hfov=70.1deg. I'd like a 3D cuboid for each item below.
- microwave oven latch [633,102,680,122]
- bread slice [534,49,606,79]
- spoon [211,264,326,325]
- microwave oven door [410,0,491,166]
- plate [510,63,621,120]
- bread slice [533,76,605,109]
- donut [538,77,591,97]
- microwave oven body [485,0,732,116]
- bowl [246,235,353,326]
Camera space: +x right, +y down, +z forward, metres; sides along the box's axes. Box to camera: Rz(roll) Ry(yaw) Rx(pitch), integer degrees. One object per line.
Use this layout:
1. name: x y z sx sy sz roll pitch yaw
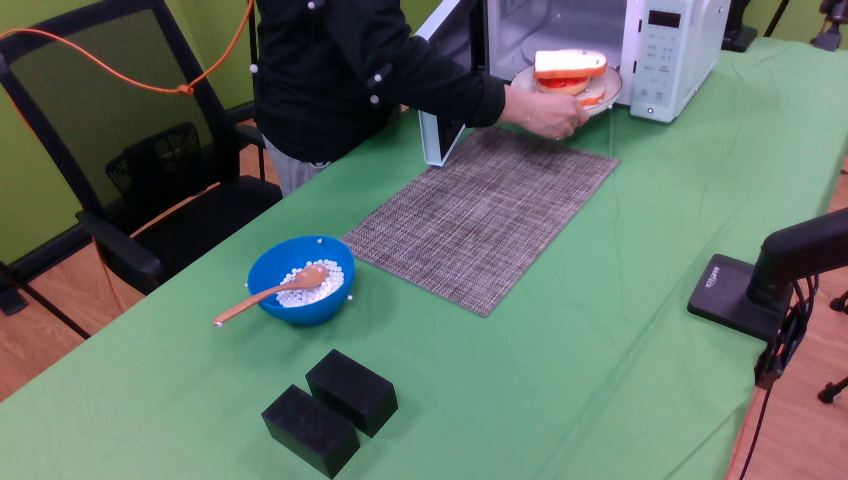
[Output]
1. microwave oven latch: 0.443 -0.249 1.157 0.078 0.029 0.030 21 49 30
2. bread slice: 0.268 -0.327 1.117 0.131 0.019 0.104 0 38 8
3. spoon: -0.207 0.072 0.822 0.041 0.021 0.195 27 29 27
4. microwave oven door: 0.063 -0.342 1.164 0.039 0.245 0.355 9 43 18
5. plate: 0.269 -0.286 1.158 0.207 0.039 0.206 -5 42 5
6. bread slice: 0.277 -0.287 1.159 0.134 0.018 0.106 -4 43 6
7. donut: 0.264 -0.305 1.138 0.099 0.048 0.098 -6 43 6
8. microwave oven body: 0.377 -0.463 1.267 0.438 0.261 0.327 21 49 30
9. bowl: -0.170 0.070 0.868 0.151 0.077 0.150 -4 41 4
